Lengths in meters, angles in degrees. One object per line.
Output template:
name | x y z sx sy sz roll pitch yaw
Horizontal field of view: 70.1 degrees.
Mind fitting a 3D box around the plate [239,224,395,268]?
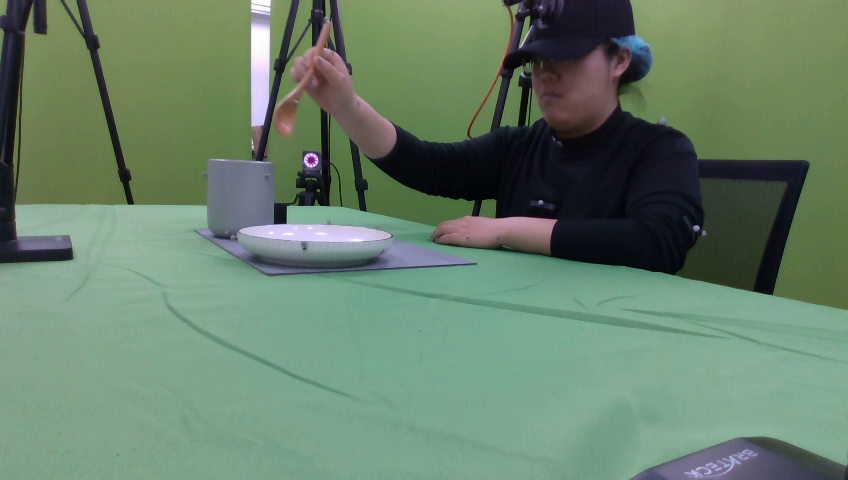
plate | -0.144 0.007 0.823 0.208 0.039 0.207 3 7 0

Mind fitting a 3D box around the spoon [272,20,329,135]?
spoon | -0.179 -0.244 0.902 0.021 0.193 0.042 19 -11 31

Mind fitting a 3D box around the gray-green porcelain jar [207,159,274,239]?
gray-green porcelain jar | -0.304 -0.068 1.003 0.106 0.126 0.106 3 7 0
